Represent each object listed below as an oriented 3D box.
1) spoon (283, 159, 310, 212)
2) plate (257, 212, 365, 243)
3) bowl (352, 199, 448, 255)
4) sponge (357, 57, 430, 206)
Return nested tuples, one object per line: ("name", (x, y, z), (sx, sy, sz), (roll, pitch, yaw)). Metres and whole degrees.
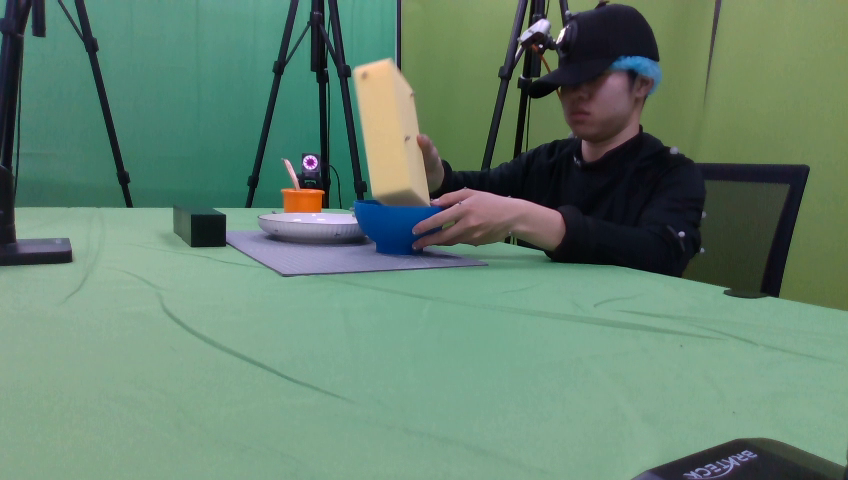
("spoon", (-0.279, -0.111, 1.324), (0.042, 0.193, 0.021), (3, -39, -35))
("plate", (-0.189, -0.023, 1.072), (0.209, 0.038, 0.209), (3, 7, 0))
("bowl", (-0.039, -0.021, 0.946), (0.151, 0.077, 0.151), (2, 7, 0))
("sponge", (-0.047, -0.159, 0.940), (0.061, 0.206, 0.118), (-11, -12, 12))
